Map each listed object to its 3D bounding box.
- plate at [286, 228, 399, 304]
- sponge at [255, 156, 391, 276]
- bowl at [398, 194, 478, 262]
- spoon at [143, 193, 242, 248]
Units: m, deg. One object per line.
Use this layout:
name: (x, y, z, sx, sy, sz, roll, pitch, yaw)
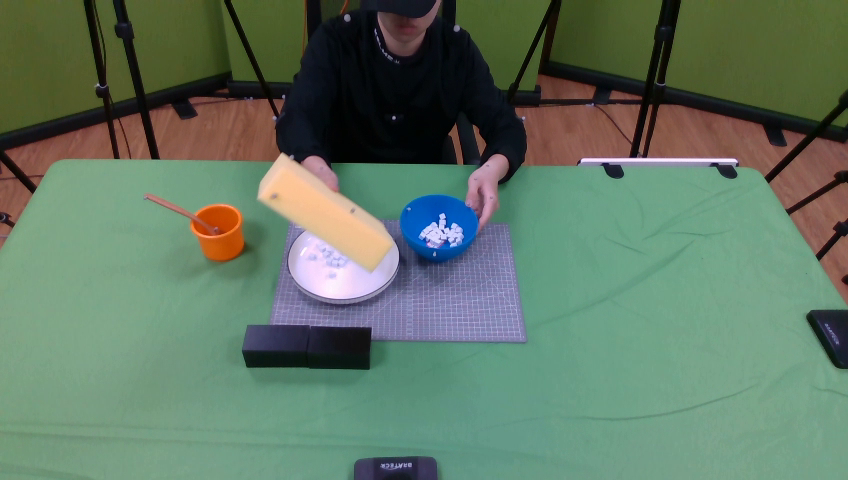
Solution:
plate: (-0.150, 0.041, 1.131, 0.209, 0.038, 0.208, 2, 45, -2)
sponge: (-0.157, -0.039, 0.943, 0.208, 0.061, 0.117, 35, 7, -22)
bowl: (0.024, -0.011, 1.167, 0.151, 0.077, 0.150, 3, 46, -2)
spoon: (-0.421, -0.037, 1.113, 0.021, 0.195, 0.041, -37, 37, 23)
